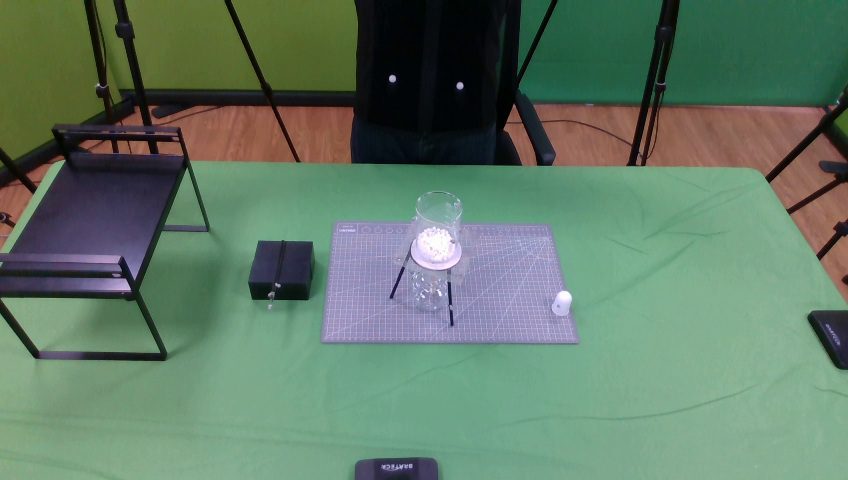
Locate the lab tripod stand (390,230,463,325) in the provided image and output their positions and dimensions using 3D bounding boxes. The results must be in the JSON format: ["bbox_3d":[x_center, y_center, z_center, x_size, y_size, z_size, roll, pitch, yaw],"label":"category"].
[{"bbox_3d":[0.014,0.060,1.056,0.148,0.132,0.147,1,48,-1],"label":"lab tripod stand"}]

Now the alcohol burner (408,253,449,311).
[{"bbox_3d":[0.011,0.069,1.061,0.078,0.120,0.077,1,46,0],"label":"alcohol burner"}]

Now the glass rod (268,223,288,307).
[{"bbox_3d":[-0.259,0.041,1.080,0.008,0.008,0.198,2,46,-2],"label":"glass rod"}]

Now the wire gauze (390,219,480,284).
[{"bbox_3d":[0.020,0.013,1.011,0.125,0.011,0.121,14,46,14],"label":"wire gauze"}]

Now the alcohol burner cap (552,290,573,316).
[{"bbox_3d":[0.250,0.109,1.088,0.034,0.048,0.033,3,47,-3],"label":"alcohol burner cap"}]

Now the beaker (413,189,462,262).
[{"bbox_3d":[0.022,-0.018,0.973,0.074,0.101,0.083,-19,51,-19],"label":"beaker"}]
